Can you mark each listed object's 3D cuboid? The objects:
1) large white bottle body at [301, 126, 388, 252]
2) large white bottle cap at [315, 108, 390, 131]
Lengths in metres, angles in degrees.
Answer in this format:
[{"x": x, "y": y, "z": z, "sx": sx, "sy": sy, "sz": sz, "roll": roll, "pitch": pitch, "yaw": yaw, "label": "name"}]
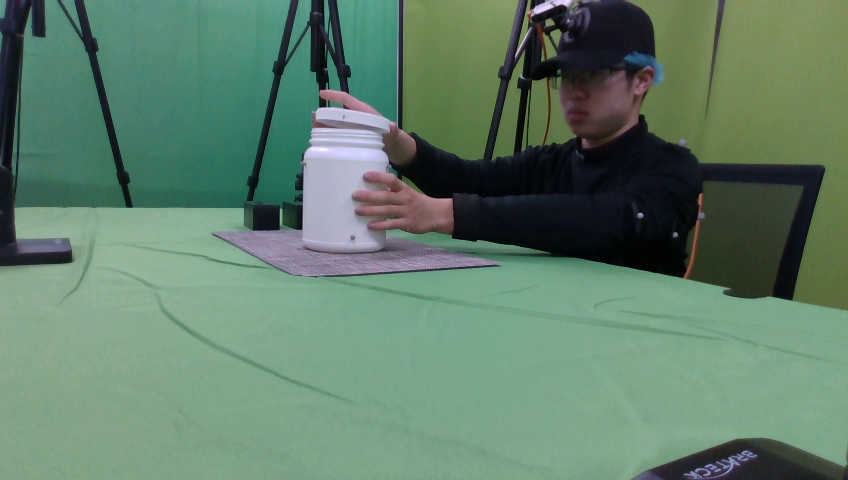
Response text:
[{"x": -0.122, "y": -0.080, "z": 0.937, "sx": 0.131, "sy": 0.184, "sz": 0.130, "roll": 2, "pitch": 7, "yaw": 0, "label": "large white bottle body"}, {"x": -0.109, "y": -0.184, "z": 0.929, "sx": 0.115, "sy": 0.018, "sz": 0.115, "roll": 7, "pitch": 4, "yaw": 0, "label": "large white bottle cap"}]
